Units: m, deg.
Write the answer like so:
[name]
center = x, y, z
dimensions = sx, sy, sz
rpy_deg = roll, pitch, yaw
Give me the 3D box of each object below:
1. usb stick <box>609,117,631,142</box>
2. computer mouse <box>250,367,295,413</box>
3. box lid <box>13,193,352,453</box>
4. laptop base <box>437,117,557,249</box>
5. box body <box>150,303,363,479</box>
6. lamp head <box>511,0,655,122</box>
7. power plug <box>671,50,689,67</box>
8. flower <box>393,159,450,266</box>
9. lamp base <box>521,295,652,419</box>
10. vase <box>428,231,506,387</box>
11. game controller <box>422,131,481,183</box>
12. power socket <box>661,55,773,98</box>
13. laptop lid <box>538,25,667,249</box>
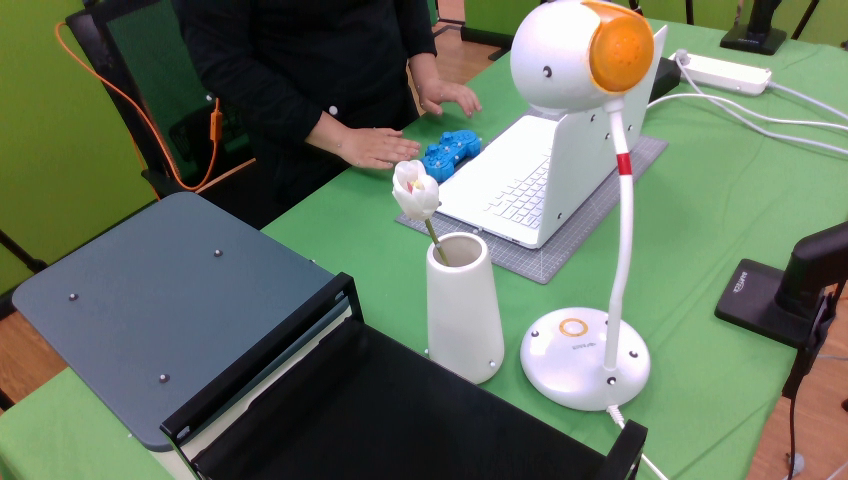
[usb stick]
center = 0.369, -0.208, 1.147
dimensions = 0.021, 0.027, 0.059
rpy_deg = 26, 55, 32
[computer mouse]
center = -0.196, 0.181, 0.772
dimensions = 0.063, 0.041, 0.116
rpy_deg = -12, 47, -11
[box lid]
center = -0.291, 0.067, 0.716
dimensions = 0.368, 0.015, 0.264
rpy_deg = 25, 50, 33
[laptop base]
center = 0.192, -0.117, 1.087
dimensions = 0.233, 0.023, 0.355
rpy_deg = 21, 47, 34
[box body]
center = -0.284, 0.123, 0.765
dimensions = 0.361, 0.161, 0.255
rpy_deg = 25, 49, 33
[lamp head]
center = 0.155, -0.168, 0.563
dimensions = 0.113, 0.113, 0.122
rpy_deg = -18, 23, -12
[power plug]
center = 0.540, -0.379, 1.302
dimensions = 0.073, 0.053, 0.035
rpy_deg = -31, 46, -23
[flower]
center = 0.028, 0.035, 0.664
dimensions = 0.043, 0.364, 0.038
rpy_deg = 35, 73, 29
[lamp base]
center = 0.201, 0.095, 0.710
dimensions = 0.161, 0.181, 0.177
rpy_deg = -16, 43, -10
[vase]
center = 0.050, 0.087, 0.728
dimensions = 0.098, 0.201, 0.097
rpy_deg = -3, 40, 3
[game controller]
center = 0.040, -0.163, 1.144
dimensions = 0.096, 0.052, 0.155
rpy_deg = 22, 49, 29
[power socket]
center = 0.619, -0.353, 1.289
dimensions = 0.225, 0.033, 0.072
rpy_deg = 26, 51, 33
[laptop lid]
center = 0.281, -0.163, 0.942
dimensions = 0.013, 0.242, 0.358
rpy_deg = 28, 50, 27
